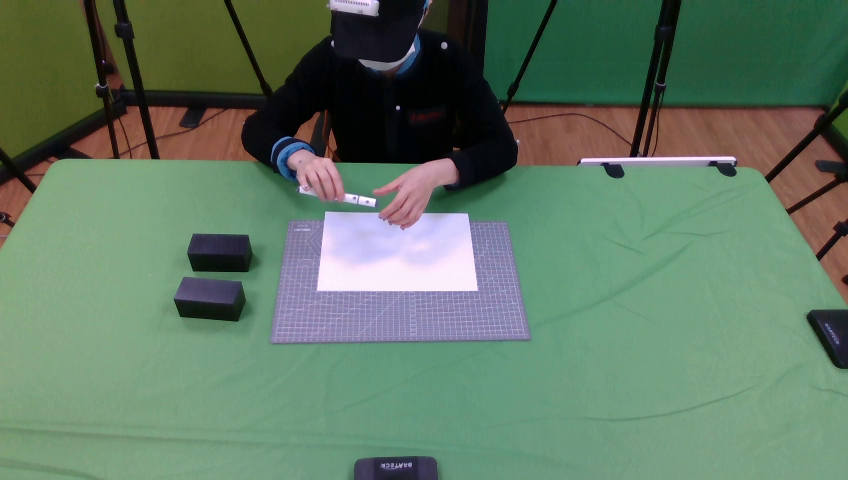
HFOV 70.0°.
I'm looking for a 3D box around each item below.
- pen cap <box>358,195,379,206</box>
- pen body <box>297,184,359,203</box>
[{"bbox_3d":[-0.103,-0.074,1.137,0.038,0.017,0.017,11,46,1],"label":"pen cap"},{"bbox_3d":[-0.165,-0.085,1.137,0.144,0.017,0.017,11,46,0],"label":"pen body"}]
